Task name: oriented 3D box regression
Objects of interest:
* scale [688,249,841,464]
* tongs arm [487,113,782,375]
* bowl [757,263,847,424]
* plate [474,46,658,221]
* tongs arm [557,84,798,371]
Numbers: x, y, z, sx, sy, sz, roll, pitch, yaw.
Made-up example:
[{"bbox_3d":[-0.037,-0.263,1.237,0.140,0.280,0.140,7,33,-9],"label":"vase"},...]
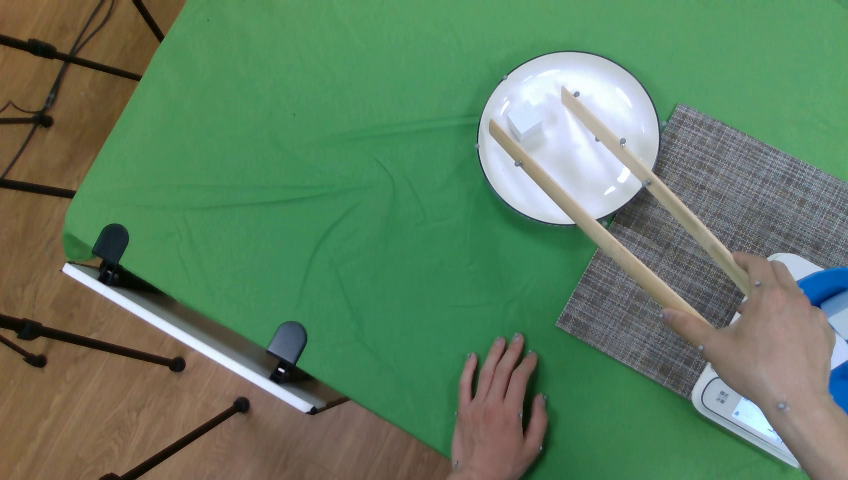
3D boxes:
[{"bbox_3d":[0.396,0.124,0.652,0.148,0.032,0.200,30,88,10],"label":"scale"},{"bbox_3d":[0.176,-0.015,0.594,0.028,0.028,0.383,-26,54,-19],"label":"tongs arm"},{"bbox_3d":[0.399,0.100,0.601,0.151,0.077,0.151,-1,84,6],"label":"bowl"},{"bbox_3d":[0.164,-0.122,0.713,0.207,0.039,0.207,-1,83,7],"label":"plate"},{"bbox_3d":[0.224,-0.038,0.605,0.051,0.027,0.380,-24,54,-13],"label":"tongs arm"}]
